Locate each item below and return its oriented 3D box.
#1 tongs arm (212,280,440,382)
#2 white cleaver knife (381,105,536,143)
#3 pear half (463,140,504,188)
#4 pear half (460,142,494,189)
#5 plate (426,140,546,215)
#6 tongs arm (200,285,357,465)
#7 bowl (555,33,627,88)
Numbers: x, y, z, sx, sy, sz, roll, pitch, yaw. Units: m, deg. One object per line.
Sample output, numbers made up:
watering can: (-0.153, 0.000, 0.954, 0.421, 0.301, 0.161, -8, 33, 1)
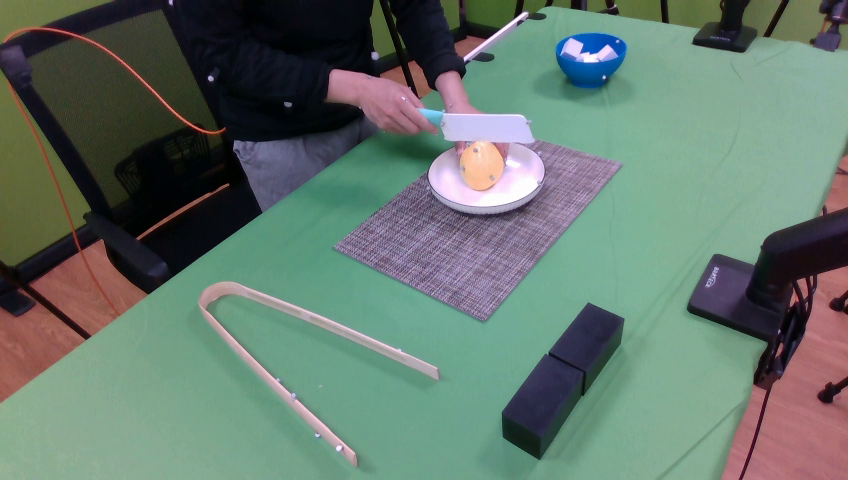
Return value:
tongs arm: (-0.147, 0.121, 0.846, 0.385, 0.028, 0.028, 17, 48, 25)
white cleaver knife: (0.048, -0.189, 1.002, 0.284, 0.066, 0.021, 11, 54, 31)
pear half: (0.105, -0.149, 1.039, 0.076, 0.110, 0.056, 23, 49, 25)
pear half: (0.085, -0.121, 1.025, 0.070, 0.088, 0.031, 22, 48, 26)
plate: (0.109, -0.107, 1.059, 0.207, 0.039, 0.206, -4, 41, 4)
tongs arm: (-0.199, 0.162, 0.797, 0.381, 0.026, 0.051, 28, 50, 35)
bowl: (0.360, -0.384, 1.317, 0.151, 0.077, 0.150, -4, 41, 4)
